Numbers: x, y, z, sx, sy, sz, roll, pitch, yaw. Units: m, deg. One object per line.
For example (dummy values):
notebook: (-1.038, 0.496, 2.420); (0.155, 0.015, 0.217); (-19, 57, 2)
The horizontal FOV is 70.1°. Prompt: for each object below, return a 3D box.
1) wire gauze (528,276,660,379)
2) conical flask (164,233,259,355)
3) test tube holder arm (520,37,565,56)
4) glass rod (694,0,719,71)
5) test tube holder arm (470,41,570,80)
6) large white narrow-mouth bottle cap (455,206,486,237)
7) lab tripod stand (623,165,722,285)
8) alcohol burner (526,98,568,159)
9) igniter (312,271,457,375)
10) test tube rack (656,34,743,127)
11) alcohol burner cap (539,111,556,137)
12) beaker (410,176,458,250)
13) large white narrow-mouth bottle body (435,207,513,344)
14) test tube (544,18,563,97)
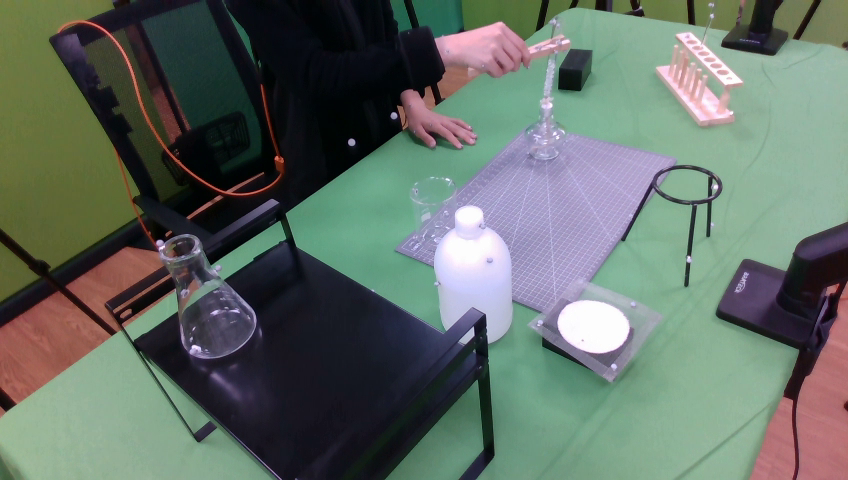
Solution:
wire gauze: (0.214, 0.103, 0.763); (0.124, 0.011, 0.122); (30, 52, 35)
conical flask: (-0.216, 0.051, 0.601); (0.075, 0.122, 0.075); (-4, 40, 4)
test tube holder arm: (0.192, -0.310, 0.984); (0.088, 0.015, 0.010); (-28, 52, -20)
glass rod: (0.560, -0.401, 1.214); (0.008, 0.200, 0.008); (-1, 48, 2)
test tube holder arm: (0.155, -0.289, 0.968); (0.179, 0.015, 0.013); (-22, 50, -15)
large white narrow-mouth bottle cap: (0.057, -0.023, 0.734); (0.038, 0.024, 0.037); (-4, 41, 4)
lab tripod stand: (0.365, -0.030, 0.875); (0.148, 0.132, 0.147); (-6, 41, 6)
alcohol burner: (0.228, -0.210, 1.118); (0.078, 0.119, 0.077); (-5, 43, 5)
igniter: (-0.068, 0.111, 0.859); (0.274, 0.025, 0.057); (27, 61, 34)
test tube rack: (0.553, -0.330, 1.233); (0.067, 0.085, 0.241); (-7, 40, 2)
alcohol burner cap: (0.243, -0.232, 1.197); (0.034, 0.048, 0.033); (-5, 38, 4)
beaker: (0.022, -0.041, 0.964); (0.073, 0.101, 0.084); (28, 51, 35)
large white narrow-mouth bottle body: (0.065, 0.041, 0.791); (0.102, 0.195, 0.101); (-4, 41, 4)
test tube: (0.215, -0.300, 1.008); (0.017, 0.151, 0.017); (-1, 53, 2)
